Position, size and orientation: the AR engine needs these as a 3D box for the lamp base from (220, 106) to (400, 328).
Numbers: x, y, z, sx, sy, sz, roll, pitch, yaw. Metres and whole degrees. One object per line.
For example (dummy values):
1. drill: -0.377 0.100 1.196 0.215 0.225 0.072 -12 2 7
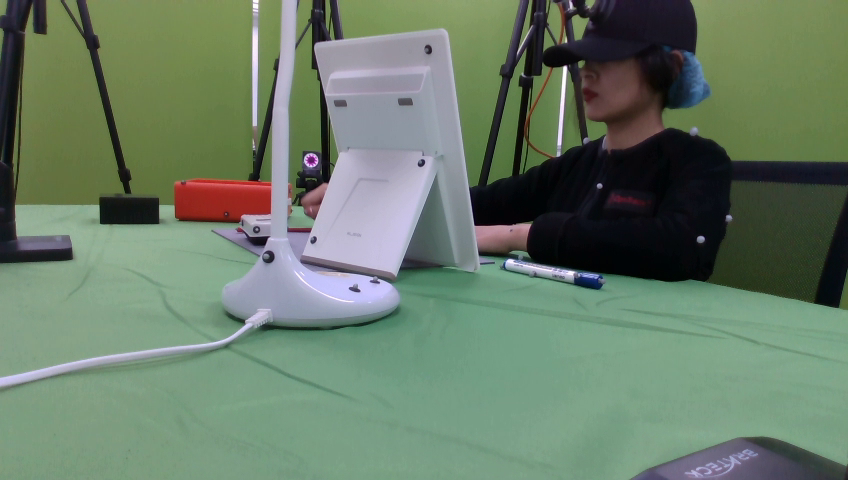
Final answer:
1. lamp base: -0.101 -0.023 0.531 0.160 0.180 0.179 4 10 10

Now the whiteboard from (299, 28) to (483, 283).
1. whiteboard: -0.075 -0.082 0.741 0.216 0.305 0.144 9 30 38

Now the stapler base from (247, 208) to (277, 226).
1. stapler base: -0.351 -0.054 1.310 0.041 0.024 0.130 -2 12 -3

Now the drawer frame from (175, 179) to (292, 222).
1. drawer frame: -0.402 -0.087 1.311 0.214 0.082 0.201 1 8 -9

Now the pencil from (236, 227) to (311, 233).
1. pencil: -0.239 -0.017 1.093 0.195 0.012 0.012 1 7 -27

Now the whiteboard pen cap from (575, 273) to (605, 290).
1. whiteboard pen cap: 0.197 0.048 0.719 0.018 0.018 0.033 -4 11 -41

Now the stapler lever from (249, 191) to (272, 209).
1. stapler lever: -0.353 -0.086 1.306 0.027 0.040 0.118 -2 5 -3

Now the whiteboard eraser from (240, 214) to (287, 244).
1. whiteboard eraser: -0.256 -0.018 0.958 0.056 0.042 0.112 0 8 -25

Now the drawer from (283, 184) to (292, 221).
1. drawer: -0.397 -0.087 1.314 0.212 0.073 0.194 1 8 -9

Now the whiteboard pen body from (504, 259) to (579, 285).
1. whiteboard pen body: 0.157 0.042 0.764 0.017 0.017 0.140 -4 11 -41
